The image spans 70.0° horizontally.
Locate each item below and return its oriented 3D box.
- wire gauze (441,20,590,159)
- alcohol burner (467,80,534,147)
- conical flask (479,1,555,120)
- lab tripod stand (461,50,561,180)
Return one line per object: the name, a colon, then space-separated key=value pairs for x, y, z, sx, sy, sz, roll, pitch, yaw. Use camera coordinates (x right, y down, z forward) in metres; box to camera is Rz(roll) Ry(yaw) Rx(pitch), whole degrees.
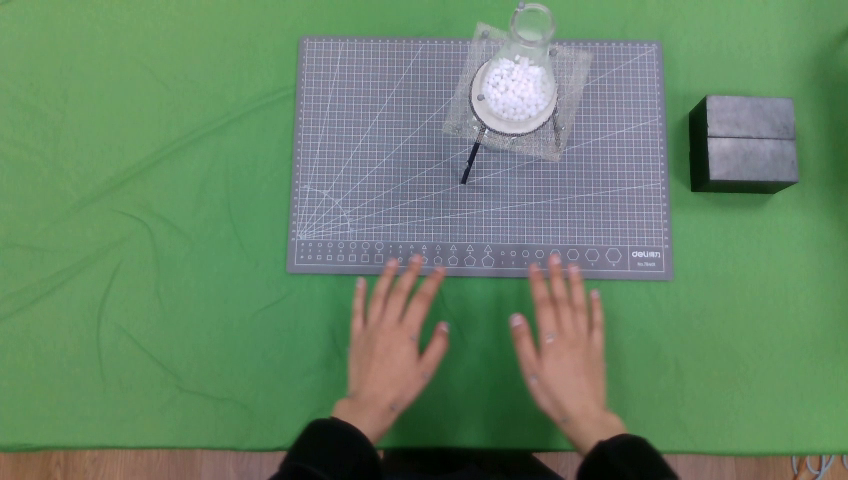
wire gauze: x=0.093 y=-0.150 z=0.603 sx=0.121 sy=0.011 sz=0.124 roll=18 pitch=78 yaw=3
alcohol burner: x=0.087 y=-0.149 z=0.680 sx=0.078 sy=0.119 sz=0.077 roll=0 pitch=81 yaw=2
conical flask: x=0.090 y=-0.164 z=0.546 sx=0.075 sy=0.122 sz=0.075 roll=0 pitch=79 yaw=1
lab tripod stand: x=0.088 y=-0.141 z=0.668 sx=0.148 sy=0.132 sz=0.148 roll=0 pitch=79 yaw=2
